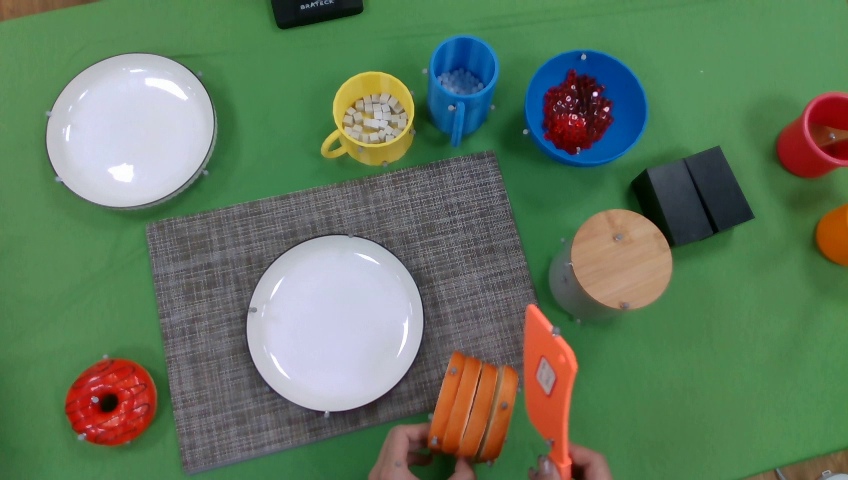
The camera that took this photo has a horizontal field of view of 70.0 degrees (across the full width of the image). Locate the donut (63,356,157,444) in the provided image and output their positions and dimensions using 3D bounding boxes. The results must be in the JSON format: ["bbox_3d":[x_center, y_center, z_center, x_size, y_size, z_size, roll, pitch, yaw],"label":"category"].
[{"bbox_3d":[-0.355,0.181,0.689,0.099,0.048,0.098,1,77,-4],"label":"donut"}]

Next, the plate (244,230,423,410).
[{"bbox_3d":[-0.104,0.093,0.718,0.209,0.038,0.208,1,77,-2],"label":"plate"}]

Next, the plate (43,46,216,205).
[{"bbox_3d":[-0.364,-0.141,0.763,0.208,0.039,0.206,1,78,-2],"label":"plate"}]

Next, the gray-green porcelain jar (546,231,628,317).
[{"bbox_3d":[0.203,0.033,0.702,0.106,0.127,0.105,1,77,-2],"label":"gray-green porcelain jar"}]

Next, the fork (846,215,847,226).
[{"bbox_3d":[0.514,0.008,0.708,0.028,0.018,0.207,48,36,2],"label":"fork"}]

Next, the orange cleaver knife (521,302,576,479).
[{"bbox_3d":[0.106,0.152,0.525,0.012,0.076,0.213,-18,119,-19],"label":"orange cleaver knife"}]

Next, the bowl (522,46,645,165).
[{"bbox_3d":[0.193,-0.157,0.769,0.151,0.077,0.150,0,78,-2],"label":"bowl"}]

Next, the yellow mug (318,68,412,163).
[{"bbox_3d":[-0.077,-0.147,0.762,0.131,0.064,0.099,-35,80,-8],"label":"yellow mug"}]

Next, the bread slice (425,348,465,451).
[{"bbox_3d":[0.024,0.170,0.653,0.018,0.135,0.106,15,67,8],"label":"bread slice"}]

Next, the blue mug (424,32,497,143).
[{"bbox_3d":[0.041,-0.178,0.753,0.082,0.106,0.116,6,77,0],"label":"blue mug"}]

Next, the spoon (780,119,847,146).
[{"bbox_3d":[0.545,-0.130,0.742,0.192,0.022,0.041,12,67,47],"label":"spoon"}]

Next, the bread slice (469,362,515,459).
[{"bbox_3d":[0.073,0.184,0.646,0.019,0.132,0.104,15,73,3],"label":"bread slice"}]

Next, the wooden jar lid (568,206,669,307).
[{"bbox_3d":[0.204,0.018,0.641,0.108,0.021,0.108,1,78,-4],"label":"wooden jar lid"}]
